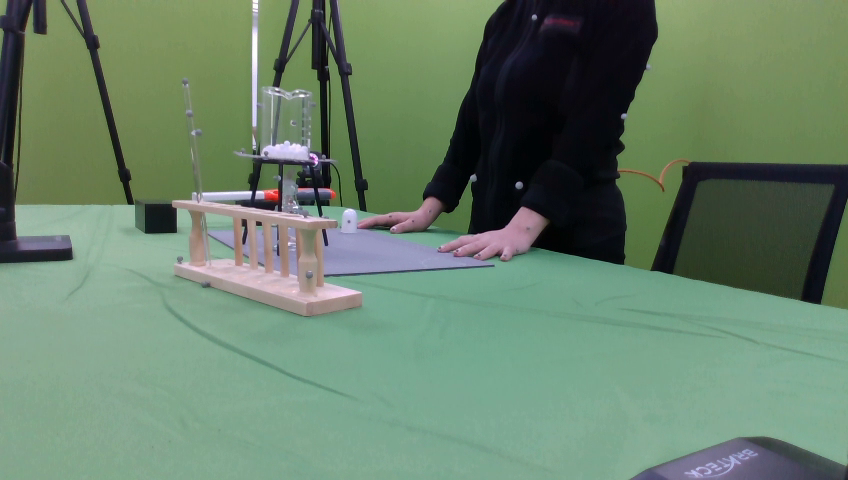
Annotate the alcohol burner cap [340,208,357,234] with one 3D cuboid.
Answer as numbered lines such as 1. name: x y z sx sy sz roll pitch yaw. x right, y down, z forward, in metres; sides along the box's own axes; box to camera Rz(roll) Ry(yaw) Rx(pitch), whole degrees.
1. alcohol burner cap: -0.142 -0.035 1.136 0.034 0.048 0.034 2 7 0

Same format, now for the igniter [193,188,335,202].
1. igniter: -0.312 -0.089 1.209 0.278 0.025 0.057 -5 13 -31

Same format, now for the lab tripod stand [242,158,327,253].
1. lab tripod stand: -0.207 -0.054 0.895 0.148 0.131 0.148 2 5 0

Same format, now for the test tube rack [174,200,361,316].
1. test tube rack: -0.169 0.010 0.622 0.241 0.085 0.067 9 9 41

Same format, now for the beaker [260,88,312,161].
1. beaker: -0.200 -0.166 0.876 0.074 0.100 0.083 1 7 -18

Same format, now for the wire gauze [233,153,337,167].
1. wire gauze: -0.205 -0.118 0.887 0.122 0.011 0.124 2 4 -32

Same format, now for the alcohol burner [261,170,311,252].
1. alcohol burner: -0.201 -0.043 0.891 0.078 0.119 0.078 1 6 0

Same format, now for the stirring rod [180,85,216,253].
1. stirring rod: -0.237 -0.073 0.634 0.006 0.176 0.014 0 10 42
